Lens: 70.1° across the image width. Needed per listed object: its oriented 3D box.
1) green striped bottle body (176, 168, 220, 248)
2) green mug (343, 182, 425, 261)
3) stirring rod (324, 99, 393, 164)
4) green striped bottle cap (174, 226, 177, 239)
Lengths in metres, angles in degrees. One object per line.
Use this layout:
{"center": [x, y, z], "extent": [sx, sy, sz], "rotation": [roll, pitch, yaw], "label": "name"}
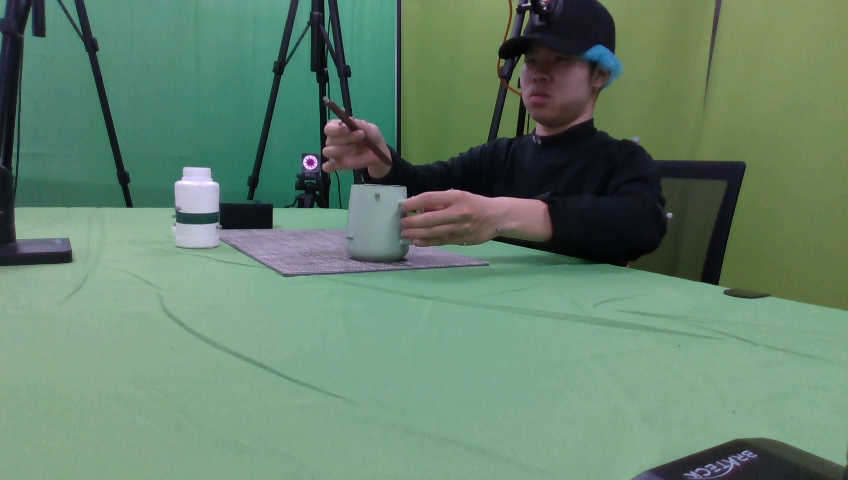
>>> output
{"center": [-0.345, -0.050, 0.924], "extent": [0.063, 0.119, 0.063], "rotation": [2, 7, 0], "label": "green striped bottle body"}
{"center": [-0.053, -0.026, 0.848], "extent": [0.125, 0.105, 0.093], "rotation": [7, 8, 31], "label": "green mug"}
{"center": [-0.096, -0.161, 0.921], "extent": [0.014, 0.006, 0.177], "rotation": [-3, -25, 29], "label": "stirring rod"}
{"center": [-0.404, -0.015, 1.036], "extent": [0.044, 0.020, 0.044], "rotation": [-1, 9, 0], "label": "green striped bottle cap"}
